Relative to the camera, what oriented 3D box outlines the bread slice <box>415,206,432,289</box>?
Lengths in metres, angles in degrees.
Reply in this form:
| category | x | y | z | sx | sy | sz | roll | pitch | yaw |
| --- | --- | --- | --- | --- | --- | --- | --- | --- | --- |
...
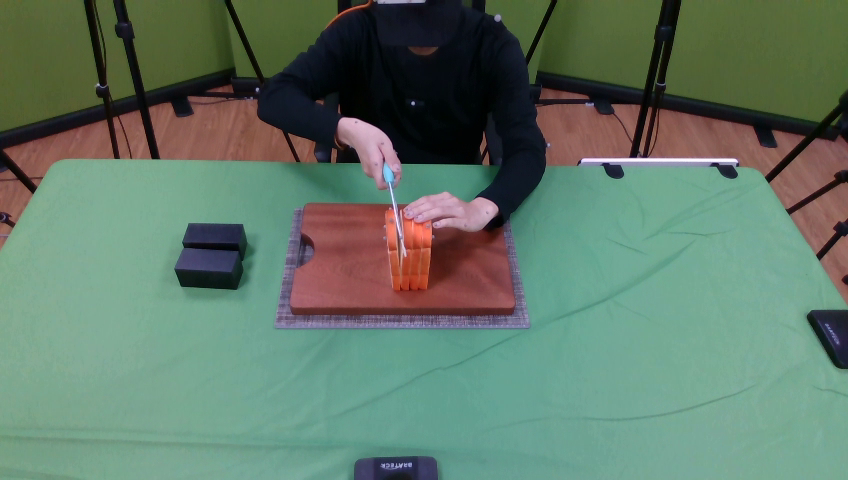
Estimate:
| category | x | y | z | sx | sy | sz | roll | pitch | yaw |
| --- | --- | --- | --- | --- | --- | --- | --- | --- | --- |
| bread slice | -0.001 | 0.008 | 1.072 | 0.018 | 0.135 | 0.106 | 1 | 49 | -6 |

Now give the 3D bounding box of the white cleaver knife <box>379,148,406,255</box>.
| category | x | y | z | sx | sy | sz | roll | pitch | yaw |
| --- | --- | --- | --- | --- | --- | --- | --- | --- | --- |
| white cleaver knife | -0.056 | -0.075 | 1.062 | 0.021 | 0.066 | 0.284 | -11 | 38 | 0 |

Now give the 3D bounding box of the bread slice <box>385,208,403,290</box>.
| category | x | y | z | sx | sy | sz | roll | pitch | yaw |
| --- | --- | --- | --- | --- | --- | --- | --- | --- | --- |
| bread slice | -0.053 | 0.008 | 1.069 | 0.019 | 0.132 | 0.104 | -6 | 46 | 0 |
